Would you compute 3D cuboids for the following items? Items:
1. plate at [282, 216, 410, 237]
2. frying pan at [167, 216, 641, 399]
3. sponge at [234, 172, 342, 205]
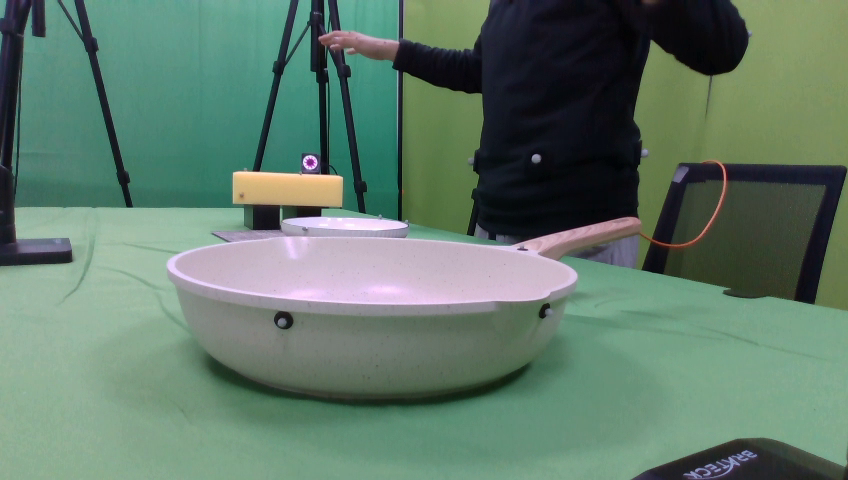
[{"bbox_3d":[-0.126,-0.011,0.986,0.208,0.039,0.207,2,7,0],"label":"plate"},{"bbox_3d":[0.046,0.024,0.519,0.490,0.102,0.305,-14,16,-37],"label":"frying pan"},{"bbox_3d":[-0.273,-0.105,1.224,0.207,0.061,0.118,0,7,-14],"label":"sponge"}]
